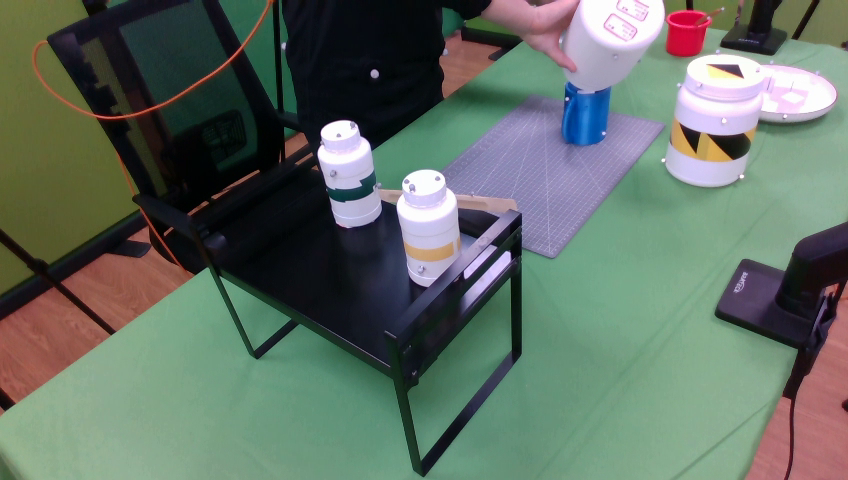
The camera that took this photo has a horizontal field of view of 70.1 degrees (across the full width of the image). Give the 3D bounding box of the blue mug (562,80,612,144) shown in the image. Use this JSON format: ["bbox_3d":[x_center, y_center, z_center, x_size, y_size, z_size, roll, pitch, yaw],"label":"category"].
[{"bbox_3d":[0.298,-0.239,1.143,0.081,0.106,0.117,30,53,36],"label":"blue mug"}]

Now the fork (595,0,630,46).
[{"bbox_3d":[0.479,-0.556,1.452,0.028,0.019,0.207,41,103,40],"label":"fork"}]

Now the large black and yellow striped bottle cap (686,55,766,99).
[{"bbox_3d":[0.474,-0.258,0.952,0.115,0.019,0.114,-5,41,5],"label":"large black and yellow striped bottle cap"}]

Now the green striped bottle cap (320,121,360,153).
[{"bbox_3d":[-0.097,-0.120,0.699,0.044,0.020,0.044,-4,39,3],"label":"green striped bottle cap"}]

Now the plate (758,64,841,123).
[{"bbox_3d":[0.694,-0.283,1.189,0.207,0.039,0.206,-4,40,4],"label":"plate"}]

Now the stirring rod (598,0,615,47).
[{"bbox_3d":[0.437,-0.551,1.462,0.014,0.006,0.175,-11,83,1],"label":"stirring rod"}]

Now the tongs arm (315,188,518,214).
[{"bbox_3d":[-0.028,-0.060,0.988,0.382,0.027,0.051,9,45,36],"label":"tongs arm"}]

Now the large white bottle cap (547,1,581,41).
[{"bbox_3d":[0.300,-0.427,1.187,0.114,0.115,0.018,0,76,9],"label":"large white bottle cap"}]

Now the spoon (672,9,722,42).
[{"bbox_3d":[0.606,-0.476,1.345,0.042,0.021,0.193,-6,-3,-2],"label":"spoon"}]

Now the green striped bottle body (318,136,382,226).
[{"bbox_3d":[-0.090,-0.080,0.733,0.063,0.120,0.063,-5,41,5],"label":"green striped bottle body"}]

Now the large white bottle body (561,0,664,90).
[{"bbox_3d":[0.304,-0.334,1.007,0.131,0.185,0.130,0,82,0],"label":"large white bottle body"}]

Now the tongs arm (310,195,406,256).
[{"bbox_3d":[-0.078,-0.012,0.944,0.028,0.028,0.384,-43,39,-22],"label":"tongs arm"}]

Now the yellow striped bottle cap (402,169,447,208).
[{"bbox_3d":[0.000,-0.052,0.605,0.044,0.019,0.044,-5,43,5],"label":"yellow striped bottle cap"}]

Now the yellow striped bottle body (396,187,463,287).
[{"bbox_3d":[0.006,-0.013,0.638,0.063,0.121,0.062,-5,41,4],"label":"yellow striped bottle body"}]

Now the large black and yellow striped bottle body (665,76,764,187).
[{"bbox_3d":[0.482,-0.196,1.008,0.131,0.185,0.130,-4,41,4],"label":"large black and yellow striped bottle body"}]
